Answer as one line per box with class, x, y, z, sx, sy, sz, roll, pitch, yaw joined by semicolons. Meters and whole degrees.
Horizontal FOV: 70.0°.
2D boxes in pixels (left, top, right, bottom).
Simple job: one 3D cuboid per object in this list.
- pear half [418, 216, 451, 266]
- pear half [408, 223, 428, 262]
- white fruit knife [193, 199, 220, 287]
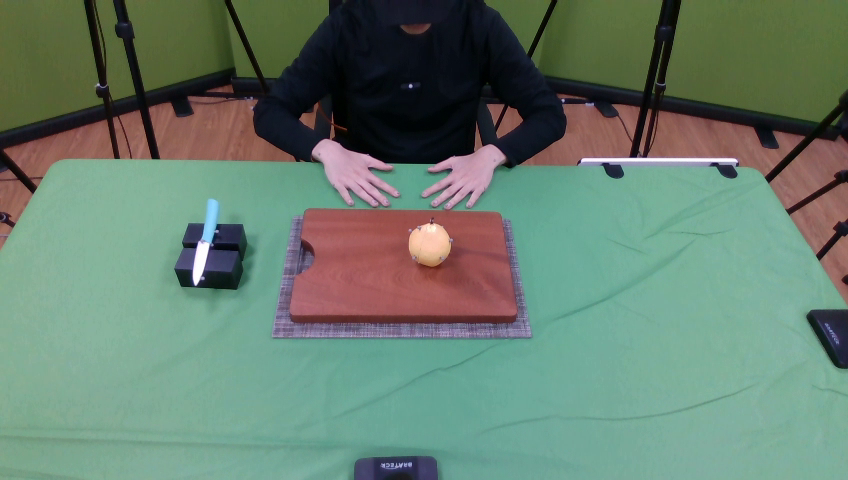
pear half;0.023;-0.001;1.097;0.056;0.110;0.076;9;50;3
pear half;-0.013;-0.001;1.107;0.031;0.088;0.070;8;53;2
white fruit knife;-0.396;0.002;1.103;0.027;0.016;0.206;-8;51;5
